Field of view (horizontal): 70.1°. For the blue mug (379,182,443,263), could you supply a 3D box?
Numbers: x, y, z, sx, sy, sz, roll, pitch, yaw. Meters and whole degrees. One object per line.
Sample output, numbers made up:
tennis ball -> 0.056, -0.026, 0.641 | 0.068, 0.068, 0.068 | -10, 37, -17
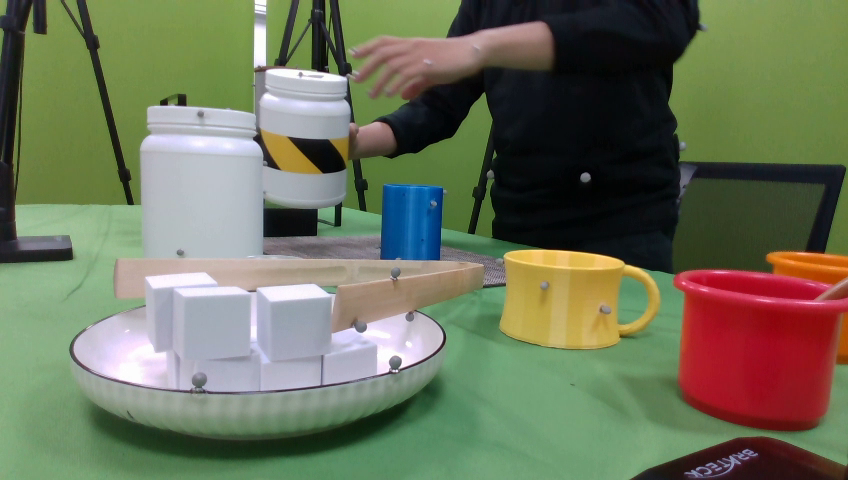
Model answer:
blue mug -> -0.020, -0.026, 0.833 | 0.082, 0.106, 0.116 | 1, 7, -6

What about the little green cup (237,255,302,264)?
little green cup -> -0.150, 0.038, 0.590 | 0.061, 0.038, 0.061 | 3, 7, 0

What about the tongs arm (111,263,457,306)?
tongs arm -> -0.080, 0.033, 0.527 | 0.028, 0.027, 0.389 | -4, -4, 33

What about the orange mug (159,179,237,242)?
orange mug -> -0.368, -0.052, 0.991 | 0.127, 0.101, 0.083 | -10, 14, -41

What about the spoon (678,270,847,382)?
spoon -> 0.229, 0.031, 0.338 | 0.193, 0.021, 0.042 | -44, -17, 27

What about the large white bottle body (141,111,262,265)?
large white bottle body -> -0.254, -0.054, 0.697 | 0.131, 0.184, 0.130 | 2, 7, 0

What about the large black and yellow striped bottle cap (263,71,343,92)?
large black and yellow striped bottle cap -> -0.174, -0.229, 0.872 | 0.115, 0.019, 0.115 | 5, 18, -1

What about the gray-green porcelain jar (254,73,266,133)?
gray-green porcelain jar -> -0.298, -0.277, 1.259 | 0.106, 0.126, 0.106 | 3, 7, 0

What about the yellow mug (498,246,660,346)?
yellow mug -> 0.130, 0.045, 0.508 | 0.131, 0.064, 0.100 | 4, 7, 6

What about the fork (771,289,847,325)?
fork -> 0.335, 0.018, 0.443 | 0.028, 0.018, 0.207 | -1, -36, -20

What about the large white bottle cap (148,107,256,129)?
large white bottle cap -> -0.250, -0.137, 0.686 | 0.115, 0.018, 0.115 | 3, 8, 0

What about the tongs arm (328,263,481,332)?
tongs arm -> -0.003, 0.036, 0.492 | 0.050, 0.026, 0.386 | 0, -1, 19

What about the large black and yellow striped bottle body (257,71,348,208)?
large black and yellow striped bottle body -> -0.181, -0.151, 0.902 | 0.131, 0.184, 0.130 | 5, 20, -2

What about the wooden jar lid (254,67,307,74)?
wooden jar lid -> -0.296, -0.339, 1.251 | 0.108, 0.020, 0.108 | 2, 7, 0

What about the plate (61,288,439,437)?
plate -> -0.095, 0.069, 0.362 | 0.208, 0.039, 0.207 | 3, 7, 0

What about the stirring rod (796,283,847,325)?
stirring rod -> 0.347, 0.019, 0.460 | 0.014, 0.176, 0.006 | -17, 59, -26
